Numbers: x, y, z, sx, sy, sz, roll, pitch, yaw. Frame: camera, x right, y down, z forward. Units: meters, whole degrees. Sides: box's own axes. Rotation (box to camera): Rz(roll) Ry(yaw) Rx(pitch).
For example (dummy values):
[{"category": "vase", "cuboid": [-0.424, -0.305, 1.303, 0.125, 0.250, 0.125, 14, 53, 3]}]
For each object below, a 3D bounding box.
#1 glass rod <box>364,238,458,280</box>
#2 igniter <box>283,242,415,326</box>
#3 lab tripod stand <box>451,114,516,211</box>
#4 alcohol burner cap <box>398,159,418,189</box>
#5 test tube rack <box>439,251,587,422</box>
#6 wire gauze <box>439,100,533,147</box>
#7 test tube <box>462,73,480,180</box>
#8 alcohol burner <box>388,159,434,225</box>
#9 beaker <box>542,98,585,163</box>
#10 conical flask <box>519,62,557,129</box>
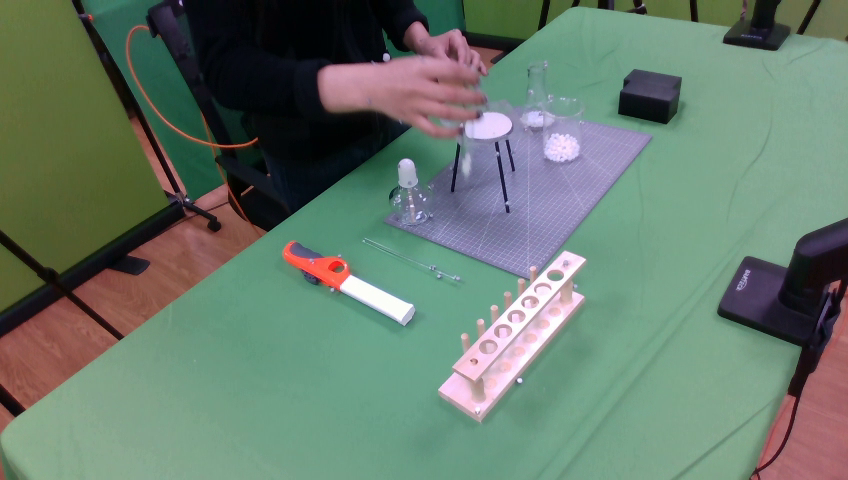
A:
[{"category": "glass rod", "cuboid": [-0.026, 0.029, 0.966, 0.198, 0.008, 0.008, 21, 49, 35]}, {"category": "igniter", "cuboid": [-0.126, 0.062, 0.931, 0.274, 0.025, 0.057, 24, 61, 33]}, {"category": "lab tripod stand", "cuboid": [0.113, -0.140, 1.037, 0.148, 0.132, 0.147, -6, 38, 5]}, {"category": "alcohol burner cap", "cuboid": [-0.028, -0.111, 0.988, 0.034, 0.048, 0.033, -3, 47, 4]}, {"category": "test tube rack", "cuboid": [0.118, 0.111, 0.780, 0.066, 0.085, 0.243, 26, 51, 35]}, {"category": "wire gauze", "cuboid": [0.100, -0.190, 0.994, 0.125, 0.011, 0.120, -15, 39, -7]}, {"category": "test tube", "cuboid": [0.060, -0.142, 0.783, 0.017, 0.150, 0.017, 1, 38, 0]}, {"category": "alcohol burner", "cuboid": [-0.023, -0.084, 1.013, 0.078, 0.119, 0.077, -4, 38, 4]}, {"category": "beaker", "cuboid": [0.255, -0.200, 1.107, 0.073, 0.101, 0.084, 9, 43, 21]}, {"category": "conical flask", "cuboid": [0.225, -0.287, 1.198, 0.075, 0.122, 0.075, -6, 40, 5]}]
